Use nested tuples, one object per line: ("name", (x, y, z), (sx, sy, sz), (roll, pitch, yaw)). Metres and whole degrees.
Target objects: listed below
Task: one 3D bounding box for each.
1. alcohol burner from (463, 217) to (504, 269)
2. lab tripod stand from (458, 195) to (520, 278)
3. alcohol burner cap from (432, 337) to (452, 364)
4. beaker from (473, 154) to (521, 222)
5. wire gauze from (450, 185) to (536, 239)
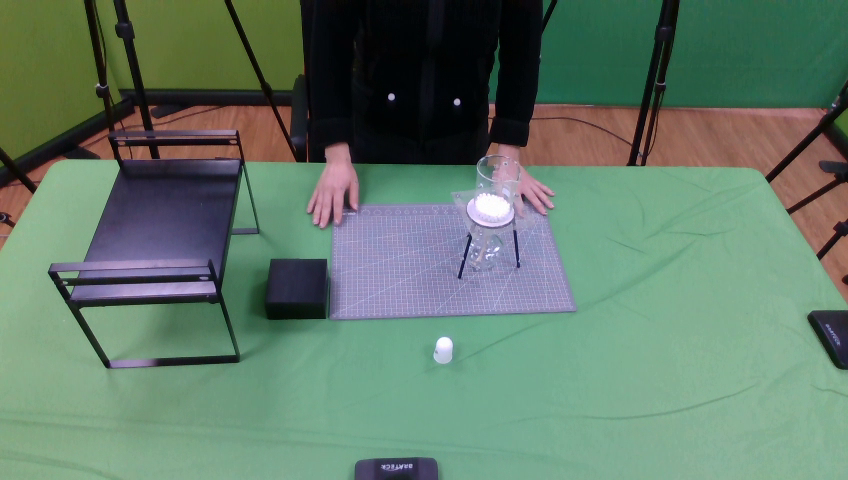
("alcohol burner", (0.114, 0.000, 1.139), (0.078, 0.119, 0.077), (3, 48, -3))
("lab tripod stand", (0.115, -0.011, 1.135), (0.148, 0.132, 0.147), (1, 45, -1))
("alcohol burner cap", (0.031, 0.182, 1.011), (0.034, 0.048, 0.033), (3, 44, -3))
("beaker", (0.125, -0.086, 1.050), (0.083, 0.101, 0.074), (29, 51, 23))
("wire gauze", (0.122, -0.056, 1.088), (0.121, 0.011, 0.124), (-10, 44, -16))
